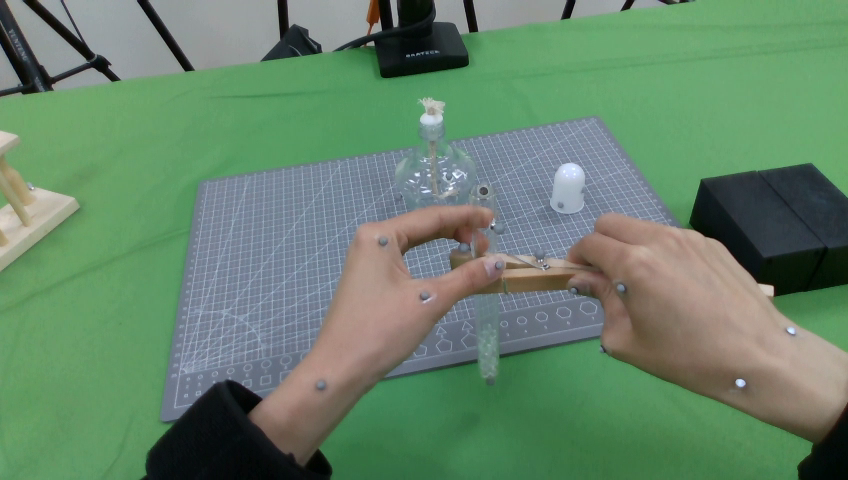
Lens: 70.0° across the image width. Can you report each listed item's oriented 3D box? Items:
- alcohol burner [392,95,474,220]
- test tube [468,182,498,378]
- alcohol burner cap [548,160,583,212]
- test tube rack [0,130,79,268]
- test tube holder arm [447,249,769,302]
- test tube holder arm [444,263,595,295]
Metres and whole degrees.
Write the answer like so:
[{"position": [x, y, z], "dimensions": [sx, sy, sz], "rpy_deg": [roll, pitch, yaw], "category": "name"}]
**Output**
[{"position": [0.007, -0.078, 0.558], "dimensions": [0.078, 0.120, 0.077], "rpy_deg": [-4, 42, 4], "category": "alcohol burner"}, {"position": [0.037, 0.032, 0.376], "dimensions": [0.017, 0.151, 0.017], "rpy_deg": [-4, 35, 3], "category": "test tube"}, {"position": [0.134, -0.052, 0.570], "dimensions": [0.034, 0.048, 0.033], "rpy_deg": [-3, 43, 4], "category": "alcohol burner cap"}, {"position": [-0.446, 0.004, 0.544], "dimensions": [0.066, 0.086, 0.241], "rpy_deg": [14, 47, 20], "category": "test tube rack"}, {"position": [0.100, 0.019, 0.351], "dimensions": [0.178, 0.015, 0.013], "rpy_deg": [4, 50, 18], "category": "test tube holder arm"}, {"position": [0.056, 0.023, 0.359], "dimensions": [0.087, 0.015, 0.010], "rpy_deg": [-5, 47, 10], "category": "test tube holder arm"}]
